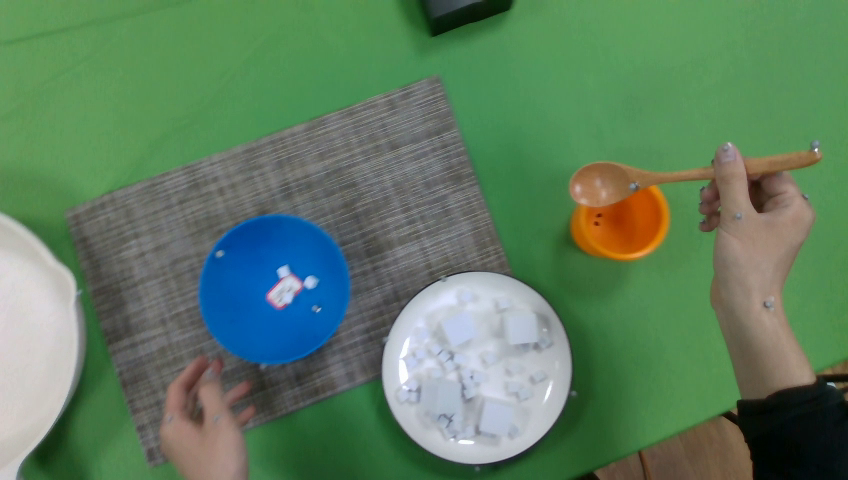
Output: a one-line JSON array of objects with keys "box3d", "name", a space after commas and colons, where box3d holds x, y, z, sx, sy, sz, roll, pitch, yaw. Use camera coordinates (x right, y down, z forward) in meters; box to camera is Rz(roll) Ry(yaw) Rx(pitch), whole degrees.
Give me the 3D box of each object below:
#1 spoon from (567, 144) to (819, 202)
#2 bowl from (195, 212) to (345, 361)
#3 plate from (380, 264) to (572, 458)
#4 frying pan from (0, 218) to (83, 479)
[{"box3d": [0.210, -0.056, 0.498, 0.192, 0.021, 0.042, -3, 108, 40], "name": "spoon"}, {"box3d": [-0.155, 0.050, 0.644, 0.151, 0.077, 0.151, 0, 86, -2], "name": "bowl"}, {"box3d": [0.056, 0.130, 0.667, 0.208, 0.039, 0.207, 0, 88, -2], "name": "plate"}, {"box3d": [-0.454, 0.200, 0.616, 0.307, 0.103, 0.485, -26, 79, -3], "name": "frying pan"}]
